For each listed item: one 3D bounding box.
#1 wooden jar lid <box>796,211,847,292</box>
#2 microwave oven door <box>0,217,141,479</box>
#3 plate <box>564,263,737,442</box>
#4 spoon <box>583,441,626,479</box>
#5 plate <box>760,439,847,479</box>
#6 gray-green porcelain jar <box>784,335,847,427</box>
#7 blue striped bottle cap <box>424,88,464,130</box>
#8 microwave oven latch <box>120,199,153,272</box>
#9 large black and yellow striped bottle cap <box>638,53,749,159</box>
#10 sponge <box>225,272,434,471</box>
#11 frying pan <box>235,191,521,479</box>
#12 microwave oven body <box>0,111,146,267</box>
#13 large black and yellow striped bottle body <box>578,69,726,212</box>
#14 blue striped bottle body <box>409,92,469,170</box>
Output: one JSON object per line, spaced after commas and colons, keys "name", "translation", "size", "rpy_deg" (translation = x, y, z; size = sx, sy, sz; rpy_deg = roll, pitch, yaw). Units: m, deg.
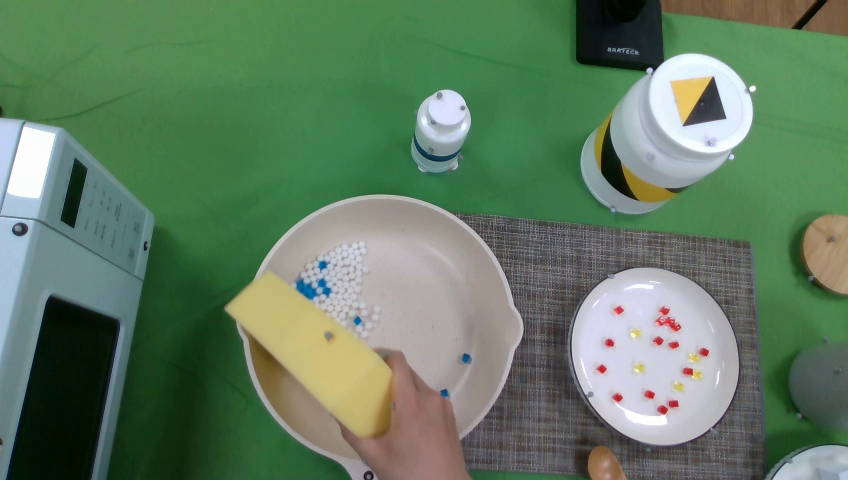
{"name": "wooden jar lid", "translation": [0.539, 0.016, 0.798], "size": [0.108, 0.021, 0.108], "rpy_deg": [1, 78, -6]}
{"name": "microwave oven door", "translation": [-0.332, 0.181, 0.519], "size": [0.039, 0.244, 0.354], "rpy_deg": [5, 75, -5]}
{"name": "plate", "translation": [0.266, 0.132, 0.724], "size": [0.209, 0.038, 0.208], "rpy_deg": [2, 76, -6]}
{"name": "spoon", "translation": [0.249, 0.306, 0.689], "size": [0.193, 0.022, 0.041], "rpy_deg": [46, 59, 4]}
{"name": "plate", "translation": [0.474, 0.337, 0.702], "size": [0.208, 0.039, 0.206], "rpy_deg": [2, 76, -6]}
{"name": "gray-green porcelain jar", "translation": [0.497, 0.163, 0.702], "size": [0.106, 0.127, 0.105], "rpy_deg": [2, 76, -6]}
{"name": "blue striped bottle cap", "translation": [0.022, -0.145, 0.670], "size": [0.044, 0.021, 0.044], "rpy_deg": [2, 73, -5]}
{"name": "microwave oven latch", "translation": [-0.323, -0.006, 0.671], "size": [0.030, 0.029, 0.079], "rpy_deg": [9, 76, -5]}
{"name": "large black and yellow striped bottle cap", "translation": [0.281, -0.141, 0.632], "size": [0.115, 0.019, 0.114], "rpy_deg": [2, 75, -6]}
{"name": "sponge", "translation": [-0.097, 0.122, 0.593], "size": [0.061, 0.119, 0.205], "rpy_deg": [-47, 43, -16]}
{"name": "frying pan", "translation": [-0.053, 0.188, 0.639], "size": [0.307, 0.103, 0.484], "rpy_deg": [4, 68, -3]}
{"name": "microwave oven body", "translation": [-0.473, 0.126, 0.521], "size": [0.326, 0.261, 0.439], "rpy_deg": [6, 76, -6]}
{"name": "large black and yellow striped bottle body", "translation": [0.273, -0.120, 0.715], "size": [0.131, 0.184, 0.130], "rpy_deg": [2, 75, -6]}
{"name": "blue striped bottle body", "translation": [0.017, -0.133, 0.720], "size": [0.063, 0.121, 0.063], "rpy_deg": [2, 76, -6]}
